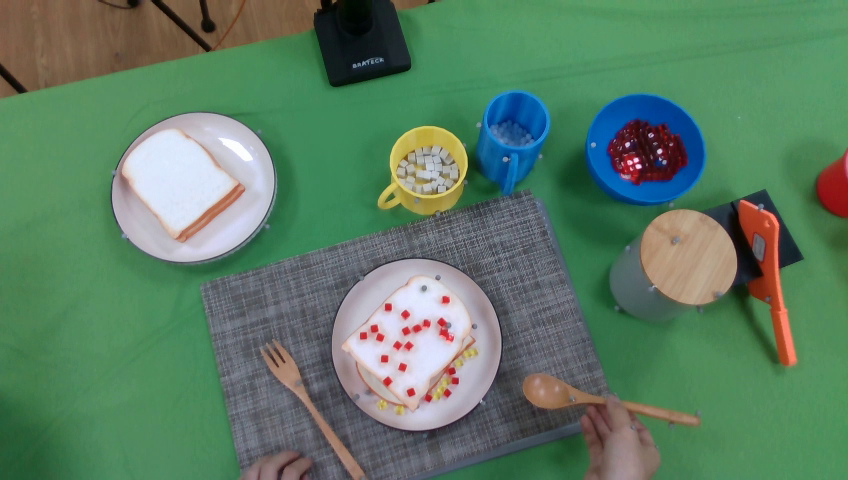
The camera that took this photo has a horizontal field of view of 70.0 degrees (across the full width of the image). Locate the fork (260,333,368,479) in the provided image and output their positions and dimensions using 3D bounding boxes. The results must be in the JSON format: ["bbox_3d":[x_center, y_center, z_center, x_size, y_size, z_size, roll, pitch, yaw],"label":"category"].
[{"bbox_3d":[-0.130,0.198,0.722,0.028,0.019,0.206,-35,77,-18],"label":"fork"}]

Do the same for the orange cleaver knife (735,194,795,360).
[{"bbox_3d":[0.422,0.046,0.753,0.012,0.077,0.212,-17,102,-6],"label":"orange cleaver knife"}]

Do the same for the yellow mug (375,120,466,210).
[{"bbox_3d":[-0.009,-0.088,0.787,0.131,0.064,0.099,-36,77,-10],"label":"yellow mug"}]

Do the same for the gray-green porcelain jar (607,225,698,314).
[{"bbox_3d":[0.286,0.031,0.731,0.106,0.127,0.105,1,74,-2],"label":"gray-green porcelain jar"}]

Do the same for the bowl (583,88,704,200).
[{"bbox_3d":[0.276,-0.114,0.796,0.151,0.077,0.150,1,74,-2],"label":"bowl"}]

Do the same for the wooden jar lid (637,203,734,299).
[{"bbox_3d":[0.287,0.013,0.670,0.108,0.021,0.108,1,76,-4],"label":"wooden jar lid"}]

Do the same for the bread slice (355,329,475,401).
[{"bbox_3d":[-0.017,0.129,0.739,0.104,0.019,0.131,40,75,11],"label":"bread slice"}]

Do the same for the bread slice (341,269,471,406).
[{"bbox_3d":[-0.014,0.100,0.683,0.107,0.018,0.134,38,71,3],"label":"bread slice"}]

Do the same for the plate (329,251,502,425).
[{"bbox_3d":[-0.010,0.117,0.739,0.209,0.038,0.208,1,74,-1],"label":"plate"}]

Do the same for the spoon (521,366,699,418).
[{"bbox_3d":[0.207,0.177,0.683,0.193,0.022,0.041,7,55,19],"label":"spoon"}]

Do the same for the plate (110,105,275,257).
[{"bbox_3d":[-0.296,-0.075,0.789,0.208,0.039,0.206,1,74,-2],"label":"plate"}]

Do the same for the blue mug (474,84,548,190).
[{"bbox_3d":[0.108,-0.123,0.780,0.082,0.106,0.116,4,74,0],"label":"blue mug"}]
